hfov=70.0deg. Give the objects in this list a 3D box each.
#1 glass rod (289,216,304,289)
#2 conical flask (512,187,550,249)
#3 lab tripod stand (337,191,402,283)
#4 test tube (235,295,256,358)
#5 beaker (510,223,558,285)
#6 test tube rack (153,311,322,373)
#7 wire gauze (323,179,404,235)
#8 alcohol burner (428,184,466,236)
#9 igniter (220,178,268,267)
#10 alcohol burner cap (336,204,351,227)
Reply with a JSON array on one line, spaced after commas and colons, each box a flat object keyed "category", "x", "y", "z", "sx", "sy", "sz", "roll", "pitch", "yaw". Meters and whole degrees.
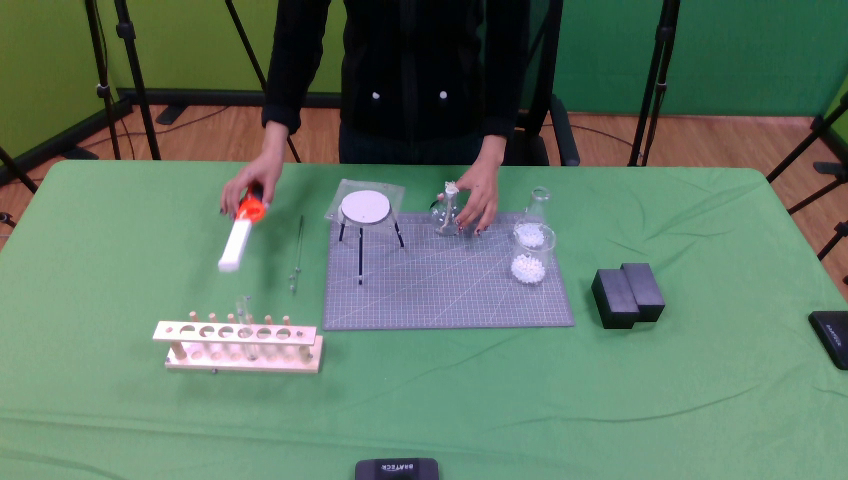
[{"category": "glass rod", "x": -0.246, "y": 0.020, "z": 1.171, "sx": 0.008, "sy": 0.008, "sz": 0.198, "roll": 0, "pitch": 43, "yaw": -3}, {"category": "conical flask", "x": 0.217, "y": -0.048, "z": 1.190, "sx": 0.075, "sy": 0.122, "sz": 0.075, "roll": 2, "pitch": 46, "yaw": -2}, {"category": "lab tripod stand", "x": -0.106, "y": -0.016, "z": 1.125, "sx": 0.148, "sy": 0.132, "sz": 0.147, "roll": 3, "pitch": 44, "yaw": -2}, {"category": "test tube", "x": -0.274, "y": 0.136, "z": 0.933, "sx": 0.017, "sy": 0.151, "sz": 0.017, "roll": 4, "pitch": 45, "yaw": -4}, {"category": "beaker", "x": 0.199, "y": 0.028, "z": 1.131, "sx": 0.083, "sy": 0.101, "sz": 0.074, "roll": 26, "pitch": 50, "yaw": 21}, {"category": "test tube rack", "x": -0.293, "y": 0.160, "z": 0.978, "sx": 0.242, "sy": 0.085, "sz": 0.066, "roll": 3, "pitch": 46, "yaw": -2}, {"category": "wire gauze", "x": -0.106, "y": -0.064, "z": 1.078, "sx": 0.125, "sy": 0.011, "sz": 0.121, "roll": 11, "pitch": 45, "yaw": 5}, {"category": "alcohol burner", "x": 0.047, "y": -0.066, "z": 1.200, "sx": 0.078, "sy": 0.119, "sz": 0.077, "roll": 4, "pitch": 45, "yaw": -4}, {"category": "igniter", "x": -0.326, "y": -0.040, "z": 1.106, "sx": 0.057, "sy": 0.025, "sz": 0.275, "roll": -1, "pitch": 35, "yaw": -2}, {"category": "alcohol burner cap", "x": -0.162, "y": -0.053, "z": 1.220, "sx": 0.034, "sy": 0.048, "sz": 0.033, "roll": 2, "pitch": 47, "yaw": -2}]
